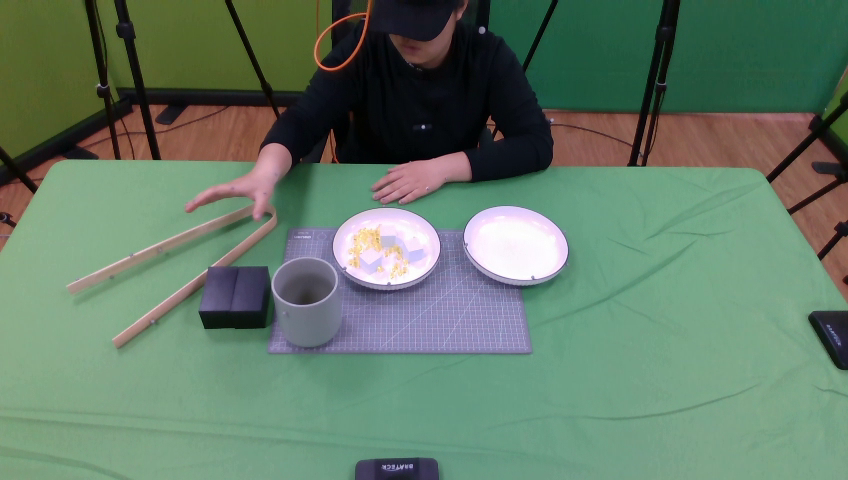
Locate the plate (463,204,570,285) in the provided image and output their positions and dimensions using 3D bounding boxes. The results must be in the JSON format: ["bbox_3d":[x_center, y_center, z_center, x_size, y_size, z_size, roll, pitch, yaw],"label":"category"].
[{"bbox_3d":[0.178,0.012,1.184,0.209,0.038,0.208,3,46,-3],"label":"plate"}]

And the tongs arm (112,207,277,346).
[{"bbox_3d":[-0.401,0.057,1.108,0.028,0.028,0.387,25,49,24],"label":"tongs arm"}]

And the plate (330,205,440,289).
[{"bbox_3d":[-0.074,0.017,1.160,0.208,0.039,0.206,2,46,-2],"label":"plate"}]

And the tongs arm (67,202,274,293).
[{"bbox_3d":[-0.461,0.013,1.142,0.385,0.026,0.050,-31,55,-31],"label":"tongs arm"}]

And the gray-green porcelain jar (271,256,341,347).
[{"bbox_3d":[-0.193,0.107,1.004,0.106,0.127,0.105,2,46,-2],"label":"gray-green porcelain jar"}]
